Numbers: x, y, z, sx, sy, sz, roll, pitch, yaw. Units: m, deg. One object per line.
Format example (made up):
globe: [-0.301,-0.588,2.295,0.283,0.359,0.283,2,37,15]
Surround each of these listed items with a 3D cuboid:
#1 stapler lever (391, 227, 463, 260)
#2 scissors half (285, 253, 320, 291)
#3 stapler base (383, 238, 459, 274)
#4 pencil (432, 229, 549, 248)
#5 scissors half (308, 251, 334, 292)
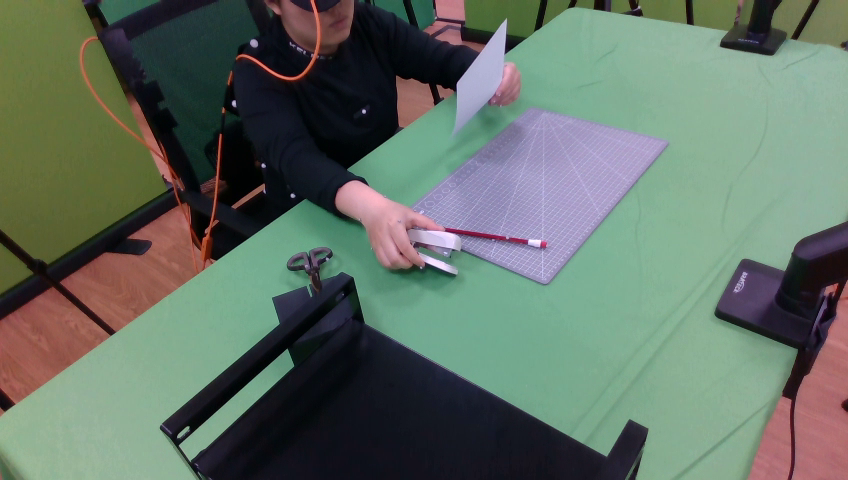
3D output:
stapler lever: [0.006,-0.003,0.937,0.117,0.027,0.040,20,85,30]
scissors half: [-0.179,0.049,0.909,0.040,0.013,0.174,-15,19,-20]
stapler base: [-0.002,0.020,0.936,0.129,0.041,0.024,19,84,30]
pencil: [0.103,-0.005,0.970,0.193,0.012,0.012,8,42,18]
scissors half: [-0.159,0.046,0.913,0.040,0.013,0.174,-4,17,-5]
